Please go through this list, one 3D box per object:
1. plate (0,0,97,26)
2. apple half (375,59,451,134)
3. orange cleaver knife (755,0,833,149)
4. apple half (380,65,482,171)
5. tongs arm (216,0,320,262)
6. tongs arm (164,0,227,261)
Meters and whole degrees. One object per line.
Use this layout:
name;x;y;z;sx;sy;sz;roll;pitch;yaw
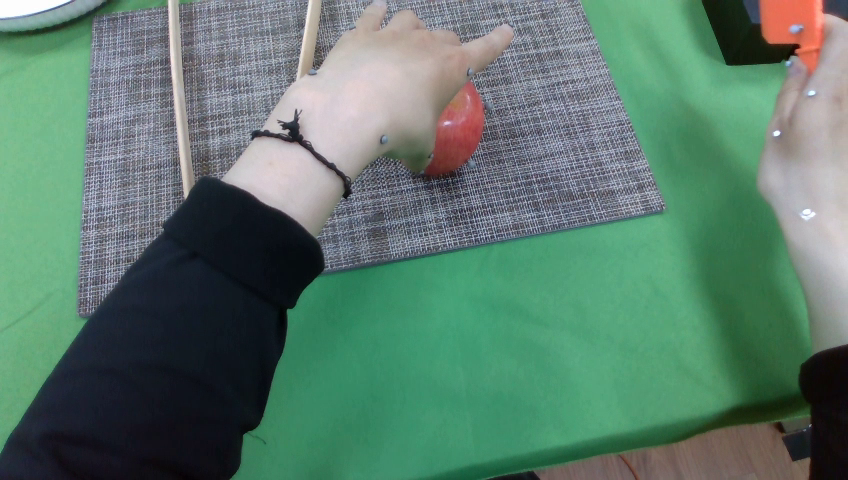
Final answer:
plate;-0.370;-0.279;0.579;0.209;0.038;0.207;0;64;0
apple half;-0.012;-0.112;0.475;0.081;0.082;0.032;-36;73;-16
orange cleaver knife;0.260;-0.171;0.431;0.012;0.077;0.212;-14;105;-3
apple half;0.013;-0.084;0.464;0.081;0.075;0.053;-34;72;-19
tongs arm;-0.122;-0.161;0.524;0.051;0.027;0.381;1;65;0
tongs arm;-0.206;-0.154;0.522;0.028;0.028;0.384;-11;65;-9
